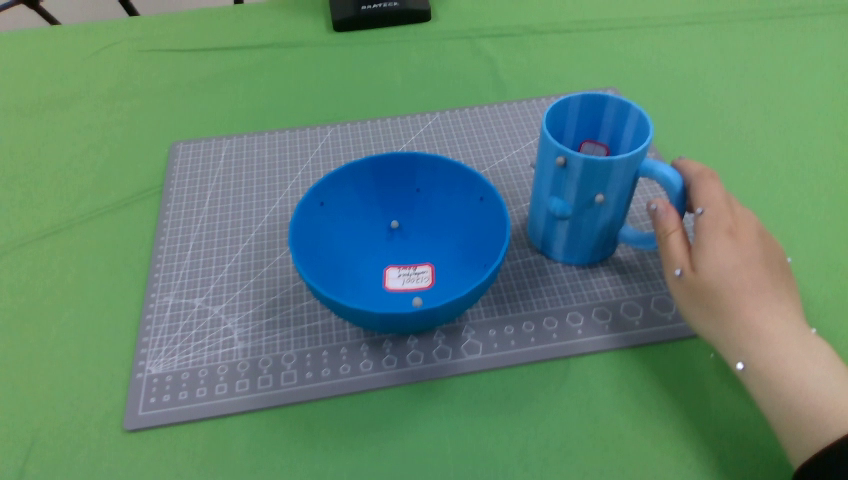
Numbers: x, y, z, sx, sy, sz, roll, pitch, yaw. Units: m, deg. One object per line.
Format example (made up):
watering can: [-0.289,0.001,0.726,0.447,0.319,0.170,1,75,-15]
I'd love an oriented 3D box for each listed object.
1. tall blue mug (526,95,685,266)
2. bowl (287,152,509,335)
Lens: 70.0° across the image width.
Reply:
tall blue mug: [0.136,-0.041,0.459,0.107,0.109,0.077,6,48,8]
bowl: [-0.016,0.015,0.435,0.151,0.077,0.150,-1,48,1]
